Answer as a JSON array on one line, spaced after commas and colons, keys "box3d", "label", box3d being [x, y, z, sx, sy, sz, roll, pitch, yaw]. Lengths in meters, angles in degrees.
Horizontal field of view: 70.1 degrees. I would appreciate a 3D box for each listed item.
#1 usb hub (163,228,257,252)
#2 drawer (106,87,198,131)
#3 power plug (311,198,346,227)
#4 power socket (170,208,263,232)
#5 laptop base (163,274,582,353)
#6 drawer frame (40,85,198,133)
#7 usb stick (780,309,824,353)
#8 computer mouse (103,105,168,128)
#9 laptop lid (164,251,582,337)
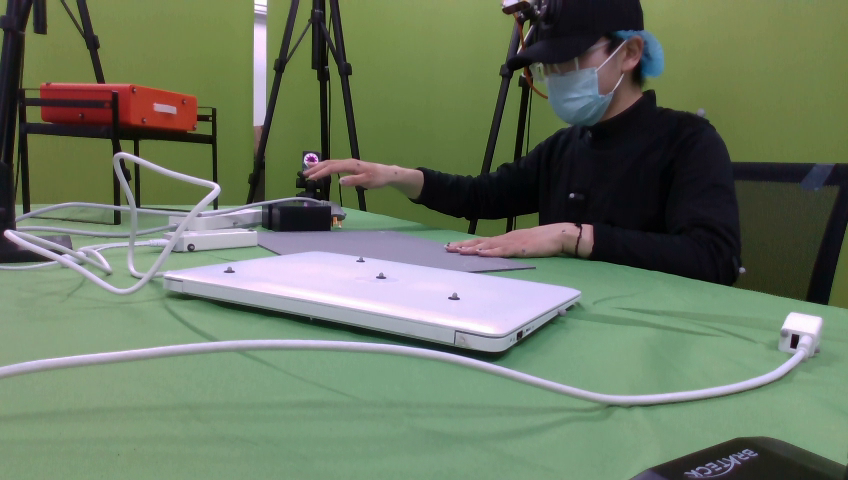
[{"box3d": [-0.314, -0.001, 0.894, 0.049, 0.025, 0.126, 9, 10, 41], "label": "usb hub"}, {"box3d": [-0.609, -0.264, 1.235, 0.211, 0.073, 0.195, 3, 8, 16], "label": "drawer"}, {"box3d": [-0.195, -0.053, 1.220, 0.073, 0.052, 0.035, 3, -20, -21], "label": "power plug"}, {"box3d": [-0.381, -0.038, 1.129, 0.072, 0.032, 0.227, 4, 8, 15], "label": "power socket"}, {"box3d": [-0.046, 0.052, 0.598, 0.353, 0.023, 0.236, 6, 6, 28], "label": "laptop base"}, {"box3d": [-0.612, -0.266, 1.235, 0.213, 0.082, 0.202, 4, 8, 15], "label": "drawer frame"}, {"box3d": [0.311, 0.072, 0.497, 0.027, 0.021, 0.059, 8, 15, 34], "label": "usb stick"}, {"box3d": [-0.582, -0.249, 1.223, 0.118, 0.041, 0.062, 2, 3, -39], "label": "computer mouse"}, {"box3d": [-0.045, 0.040, 0.599, 0.355, 0.013, 0.243, 7, 7, 30], "label": "laptop lid"}]
